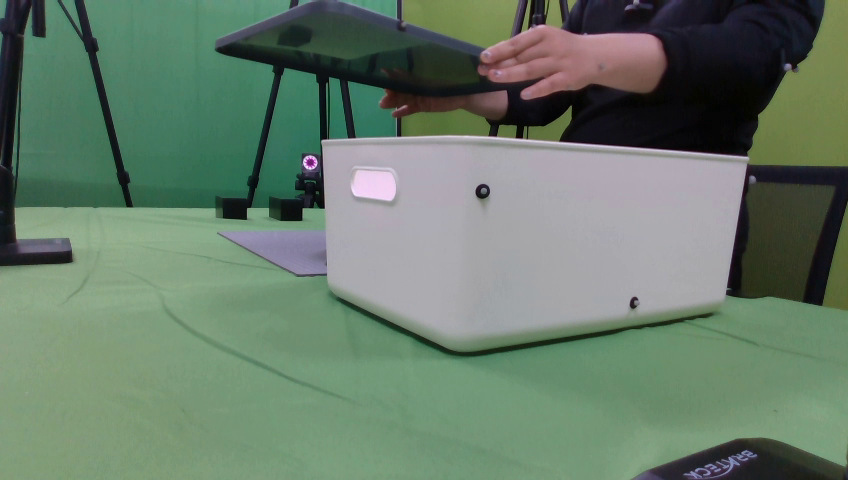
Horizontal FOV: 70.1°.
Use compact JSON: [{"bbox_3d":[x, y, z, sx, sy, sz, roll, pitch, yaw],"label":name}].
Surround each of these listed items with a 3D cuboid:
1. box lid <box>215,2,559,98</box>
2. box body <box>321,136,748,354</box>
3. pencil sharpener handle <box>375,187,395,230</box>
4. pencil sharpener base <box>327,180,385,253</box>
[{"bbox_3d":[-0.039,-0.218,0.748,0.374,0.015,0.262,0,5,-42],"label":"box lid"},{"bbox_3d":[0.105,-0.011,0.604,0.366,0.160,0.253,-2,8,-33],"label":"box body"},{"bbox_3d":[-0.059,-0.049,0.958,0.031,0.067,0.036,0,13,-29],"label":"pencil sharpener handle"},{"bbox_3d":[-0.103,-0.037,0.932,0.077,0.107,0.061,0,7,-29],"label":"pencil sharpener base"}]
